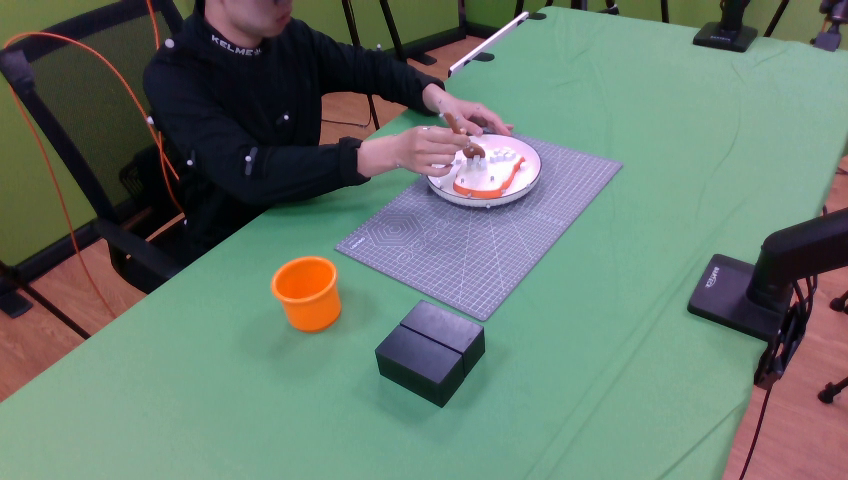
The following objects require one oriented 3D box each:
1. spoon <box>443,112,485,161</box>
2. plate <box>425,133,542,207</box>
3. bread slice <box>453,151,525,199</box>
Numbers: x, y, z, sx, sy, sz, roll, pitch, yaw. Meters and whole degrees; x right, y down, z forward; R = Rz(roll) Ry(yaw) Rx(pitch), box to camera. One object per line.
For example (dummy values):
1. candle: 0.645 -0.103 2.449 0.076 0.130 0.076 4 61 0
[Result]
1. spoon: 0.065 -0.168 0.999 0.041 0.195 0.021 4 82 19
2. plate: 0.106 -0.121 1.079 0.209 0.038 0.208 -4 41 4
3. bread slice: 0.112 -0.119 1.079 0.104 0.019 0.131 11 43 21
